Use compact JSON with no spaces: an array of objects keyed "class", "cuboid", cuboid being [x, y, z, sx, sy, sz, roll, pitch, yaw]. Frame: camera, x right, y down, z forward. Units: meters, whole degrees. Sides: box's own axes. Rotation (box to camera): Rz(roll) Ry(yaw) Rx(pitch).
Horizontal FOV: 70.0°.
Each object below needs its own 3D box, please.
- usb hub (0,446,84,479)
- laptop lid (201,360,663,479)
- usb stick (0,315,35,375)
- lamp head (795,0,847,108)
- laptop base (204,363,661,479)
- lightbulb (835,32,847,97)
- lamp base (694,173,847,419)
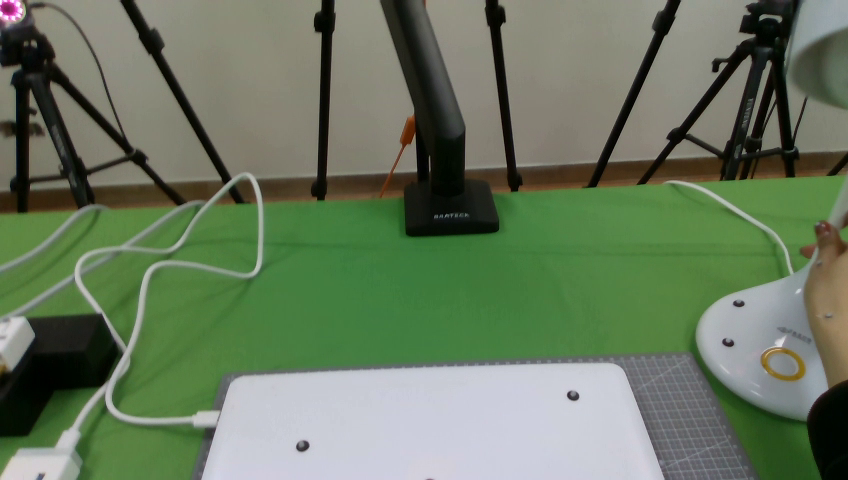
[{"class":"usb hub","cuboid":[-0.304,0.211,0.445,0.049,0.025,0.124,-2,35,1]},{"class":"laptop lid","cuboid":[0.005,0.186,0.456,0.357,0.013,0.239,-1,38,1]},{"class":"usb stick","cuboid":[-0.363,0.093,0.523,0.021,0.027,0.058,-1,38,-4]},{"class":"lamp head","cuboid":[0.271,-0.140,0.324,0.112,0.113,0.122,13,78,20]},{"class":"laptop base","cuboid":[0.005,0.194,0.465,0.354,0.023,0.233,-2,39,-1]},{"class":"lightbulb","cuboid":[0.261,-0.119,0.317,0.059,0.107,0.059,22,4,-1]},{"class":"lamp base","cuboid":[0.343,0.034,0.538,0.159,0.182,0.178,16,38,24]}]
